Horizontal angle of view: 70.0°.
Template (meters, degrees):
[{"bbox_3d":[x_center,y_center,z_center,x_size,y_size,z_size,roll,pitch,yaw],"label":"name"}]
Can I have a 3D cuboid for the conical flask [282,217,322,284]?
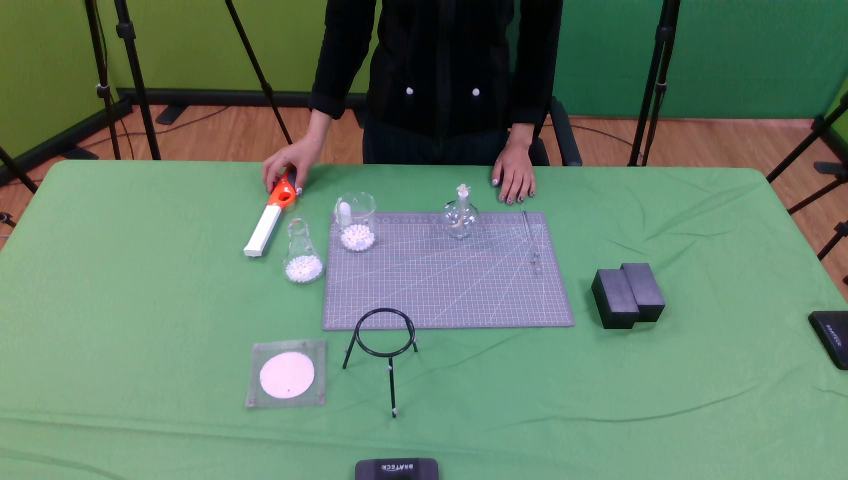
[{"bbox_3d":[-0.225,0.016,1.097,0.075,0.122,0.075,2,46,-2],"label":"conical flask"}]

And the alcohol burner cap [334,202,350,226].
[{"bbox_3d":[-0.166,-0.055,1.223,0.034,0.048,0.033,2,46,-2],"label":"alcohol burner cap"}]

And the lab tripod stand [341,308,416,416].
[{"bbox_3d":[-0.061,0.177,0.946,0.148,0.132,0.147,2,44,-2],"label":"lab tripod stand"}]

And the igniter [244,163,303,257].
[{"bbox_3d":[-0.304,-0.071,1.240,0.057,0.025,0.275,5,45,8],"label":"igniter"}]

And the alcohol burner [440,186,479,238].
[{"bbox_3d":[0.072,-0.062,1.198,0.078,0.119,0.077,3,47,-3],"label":"alcohol burner"}]

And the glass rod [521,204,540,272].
[{"bbox_3d":[0.215,-0.008,1.230,0.008,0.008,0.198,0,43,-3],"label":"glass rod"}]

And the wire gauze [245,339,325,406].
[{"bbox_3d":[-0.224,0.214,0.984,0.125,0.011,0.120,-2,46,-5],"label":"wire gauze"}]

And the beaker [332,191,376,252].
[{"bbox_3d":[-0.133,-0.032,1.163,0.084,0.101,0.073,-19,50,-20],"label":"beaker"}]
